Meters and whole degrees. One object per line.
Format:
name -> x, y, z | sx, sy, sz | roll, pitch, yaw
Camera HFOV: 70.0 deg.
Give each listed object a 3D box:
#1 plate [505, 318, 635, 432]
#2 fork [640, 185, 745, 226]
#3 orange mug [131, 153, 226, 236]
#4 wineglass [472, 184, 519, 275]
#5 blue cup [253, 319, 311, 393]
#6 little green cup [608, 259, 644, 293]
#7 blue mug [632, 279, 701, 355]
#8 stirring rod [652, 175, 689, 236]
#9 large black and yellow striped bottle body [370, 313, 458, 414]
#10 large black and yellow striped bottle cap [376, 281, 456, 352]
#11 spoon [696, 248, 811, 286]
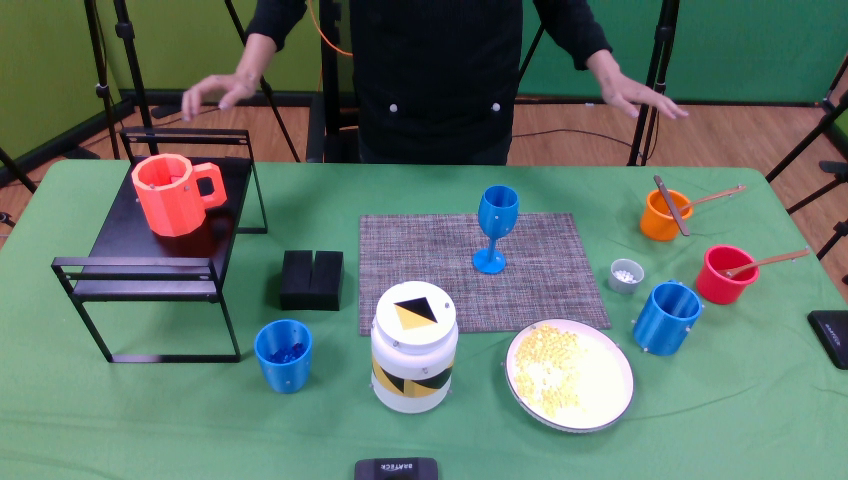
plate -> 0.235, 0.221, 0.991 | 0.209, 0.038, 0.208 | 2, 45, -2
fork -> 0.534, -0.069, 1.215 | 0.207, 0.019, 0.028 | -26, 27, 33
orange mug -> -0.375, -0.075, 0.937 | 0.126, 0.101, 0.083 | -20, 50, -17
wineglass -> 0.129, -0.018, 1.113 | 0.074, 0.173, 0.073 | 2, 46, -2
blue cup -> -0.217, 0.187, 0.943 | 0.093, 0.101, 0.092 | 3, 45, -3
little green cup -> 0.379, 0.070, 1.147 | 0.061, 0.039, 0.061 | 3, 45, -2
blue mug -> 0.419, 0.124, 1.052 | 0.082, 0.106, 0.116 | 14, 46, 9
stirring rod -> 0.491, -0.072, 1.211 | 0.014, 0.006, 0.175 | -1, 46, -6
large black and yellow striped bottle body -> -0.017, 0.165, 0.924 | 0.131, 0.185, 0.130 | 2, 46, -2
large black and yellow striped bottle cap -> -0.011, 0.107, 0.863 | 0.115, 0.019, 0.114 | 2, 47, -2
spoon -> 0.600, 0.048, 1.112 | 0.193, 0.022, 0.041 | -25, 31, 35
